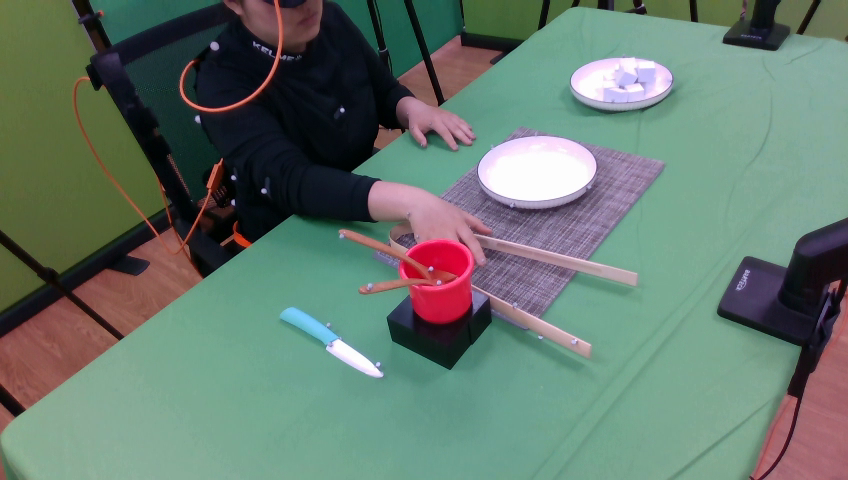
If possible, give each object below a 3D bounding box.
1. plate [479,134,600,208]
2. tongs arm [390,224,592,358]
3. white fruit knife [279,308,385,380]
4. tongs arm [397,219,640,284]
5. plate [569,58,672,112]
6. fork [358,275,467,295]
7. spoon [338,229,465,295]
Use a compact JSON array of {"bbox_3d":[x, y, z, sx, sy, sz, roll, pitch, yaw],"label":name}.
[{"bbox_3d":[0.202,-0.117,1.065,0.207,0.039,0.206,-5,40,5],"label":"plate"},{"bbox_3d":[0.082,0.063,0.879,0.381,0.026,0.051,25,53,34],"label":"tongs arm"},{"bbox_3d":[-0.130,0.143,0.845,0.206,0.016,0.027,25,79,32],"label":"white fruit knife"},{"bbox_3d":[0.132,0.015,0.926,0.385,0.028,0.028,13,50,25],"label":"tongs arm"},{"bbox_3d":[0.411,-0.323,1.274,0.209,0.038,0.208,-5,41,5],"label":"plate"},{"bbox_3d":[-0.009,0.056,0.739,0.028,0.018,0.209,48,23,26],"label":"fork"},{"bbox_3d":[-0.025,0.026,0.776,0.021,0.195,0.041,-41,34,32],"label":"spoon"}]
